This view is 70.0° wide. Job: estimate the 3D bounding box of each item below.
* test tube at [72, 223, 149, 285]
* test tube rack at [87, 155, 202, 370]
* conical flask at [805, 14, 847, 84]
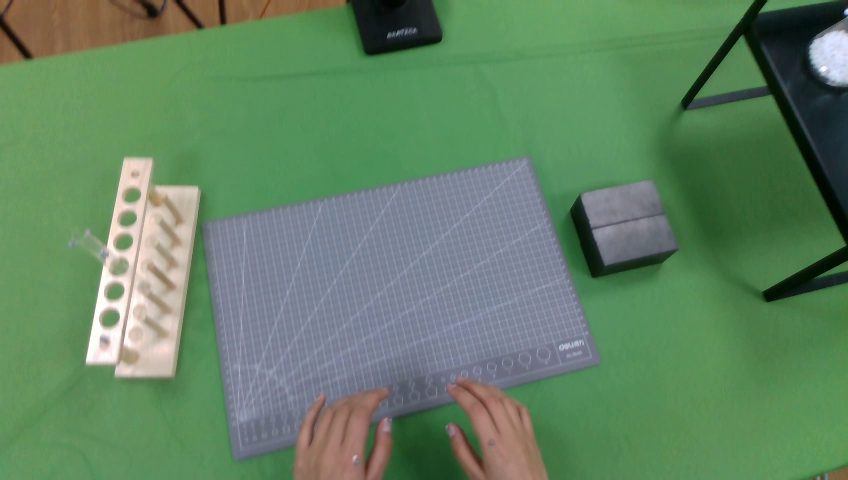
[{"bbox_3d":[-0.343,0.019,0.672,0.017,0.151,0.017,0,66,1],"label":"test tube"},{"bbox_3d":[-0.326,0.027,0.723,0.067,0.085,0.240,1,69,-3],"label":"test tube rack"},{"bbox_3d":[0.483,-0.232,0.656,0.075,0.122,0.075,1,69,-3],"label":"conical flask"}]
